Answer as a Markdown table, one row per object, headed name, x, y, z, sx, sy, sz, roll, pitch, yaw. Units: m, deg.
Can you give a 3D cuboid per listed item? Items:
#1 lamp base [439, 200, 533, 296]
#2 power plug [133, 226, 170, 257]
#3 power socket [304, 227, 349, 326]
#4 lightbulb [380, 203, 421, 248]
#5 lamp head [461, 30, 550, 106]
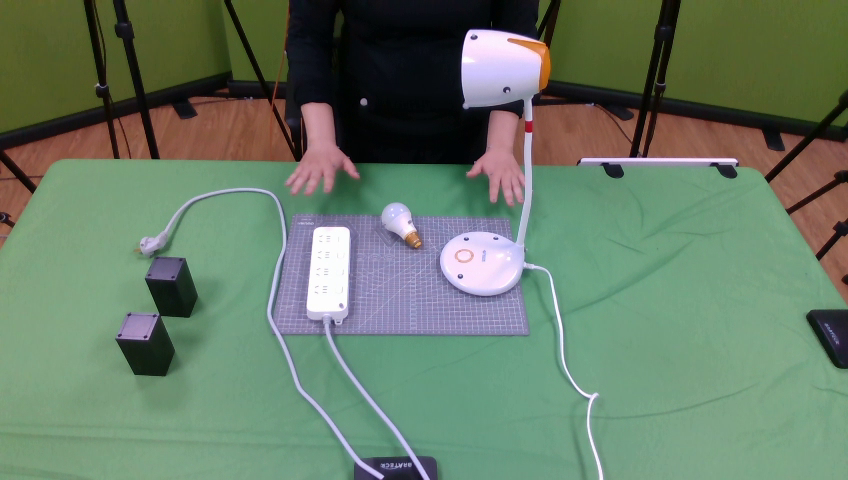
| name | x | y | z | sx | sy | sz | roll | pitch | yaw |
| --- | --- | --- | --- | --- | --- | --- | --- | --- | --- |
| lamp base | 0.126 | -0.010 | 1.103 | 0.179 | 0.181 | 0.159 | 2 | 46 | -6 |
| power plug | -0.515 | 0.005 | 1.152 | 0.052 | 0.035 | 0.072 | -6 | 24 | 6 |
| power socket | -0.177 | 0.059 | 1.115 | 0.072 | 0.033 | 0.225 | -1 | 46 | -4 |
| lightbulb | -0.043 | -0.026 | 1.197 | 0.059 | 0.060 | 0.107 | -28 | 69 | -28 |
| lamp head | 0.122 | -0.250 | 0.892 | 0.123 | 0.113 | 0.112 | 8 | 45 | 13 |
